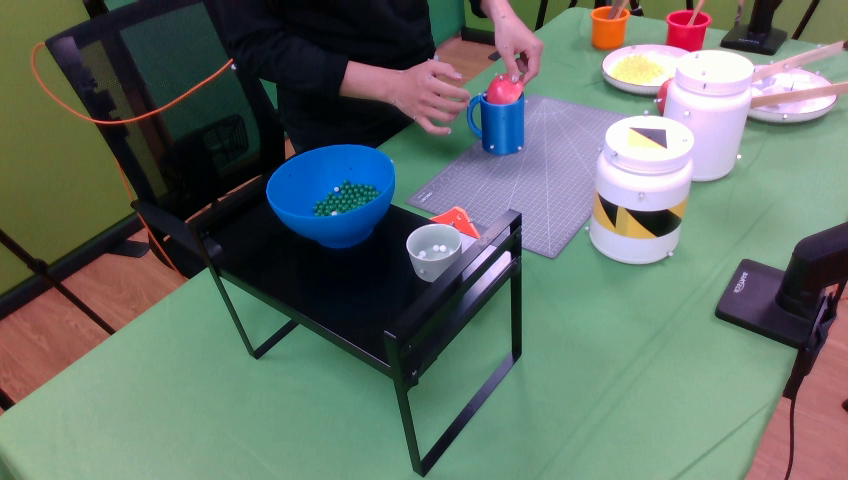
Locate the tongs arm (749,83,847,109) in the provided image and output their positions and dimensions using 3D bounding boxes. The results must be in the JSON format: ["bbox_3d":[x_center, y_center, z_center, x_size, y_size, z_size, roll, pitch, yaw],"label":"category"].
[{"bbox_3d":[0.734,-0.280,1.133,0.388,0.028,0.028,-9,47,-5],"label":"tongs arm"}]

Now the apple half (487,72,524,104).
[{"bbox_3d":[0.144,-0.277,1.116,0.033,0.081,0.080,19,20,-42],"label":"apple half"}]

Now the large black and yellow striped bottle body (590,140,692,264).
[{"bbox_3d":[0.317,-0.071,0.889,0.131,0.185,0.130,-4,41,4],"label":"large black and yellow striped bottle body"}]

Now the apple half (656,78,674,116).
[{"bbox_3d":[0.488,-0.281,1.192,0.053,0.075,0.081,24,54,37],"label":"apple half"}]

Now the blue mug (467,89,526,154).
[{"bbox_3d":[0.138,-0.234,1.161,0.116,0.106,0.082,12,44,22],"label":"blue mug"}]

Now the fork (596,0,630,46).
[{"bbox_3d":[0.481,-0.556,1.452,0.028,0.019,0.207,40,103,40],"label":"fork"}]

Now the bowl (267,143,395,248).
[{"bbox_3d":[-0.104,-0.043,0.726,0.151,0.077,0.150,-4,41,4],"label":"bowl"}]

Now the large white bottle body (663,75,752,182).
[{"bbox_3d":[0.472,-0.207,1.022,0.130,0.185,0.130,-4,41,4],"label":"large white bottle body"}]

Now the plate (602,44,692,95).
[{"bbox_3d":[0.495,-0.367,1.317,0.209,0.038,0.208,-4,40,4],"label":"plate"}]

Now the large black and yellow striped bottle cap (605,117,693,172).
[{"bbox_3d":[0.309,-0.134,0.833,0.115,0.019,0.114,-5,40,5],"label":"large black and yellow striped bottle cap"}]

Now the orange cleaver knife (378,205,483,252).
[{"bbox_3d":[0.005,-0.010,0.944,0.210,0.077,0.012,-5,23,47],"label":"orange cleaver knife"}]

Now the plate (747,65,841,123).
[{"bbox_3d":[0.694,-0.283,1.189,0.207,0.039,0.206,-4,40,4],"label":"plate"}]

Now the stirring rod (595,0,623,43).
[{"bbox_3d":[0.460,-0.556,1.460,0.014,0.006,0.176,30,93,23],"label":"stirring rod"}]

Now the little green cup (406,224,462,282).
[{"bbox_3d":[0.012,0.015,0.668,0.061,0.039,0.061,-4,40,4],"label":"little green cup"}]

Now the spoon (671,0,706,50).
[{"bbox_3d":[0.629,-0.520,1.394,0.041,0.022,0.193,30,96,34],"label":"spoon"}]

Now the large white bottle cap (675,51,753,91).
[{"bbox_3d":[0.463,-0.271,0.967,0.115,0.018,0.114,-4,40,3],"label":"large white bottle cap"}]

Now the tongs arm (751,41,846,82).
[{"bbox_3d":[0.708,-0.331,1.194,0.386,0.026,0.050,-18,45,-16],"label":"tongs arm"}]
